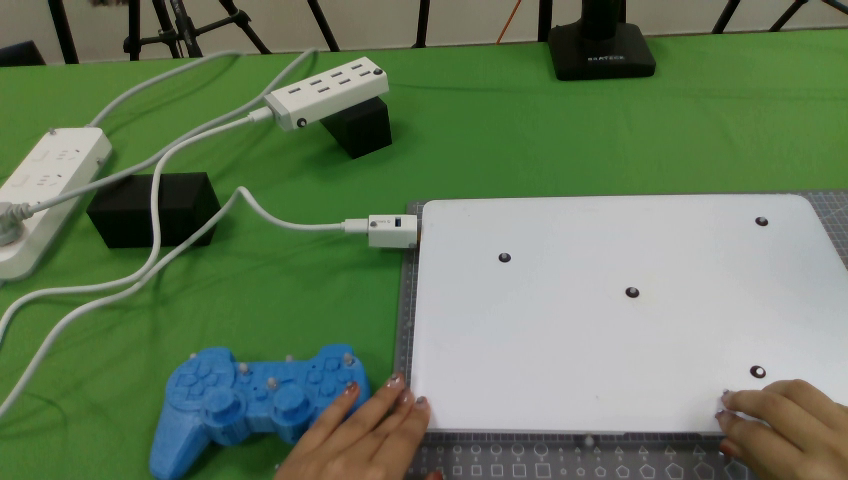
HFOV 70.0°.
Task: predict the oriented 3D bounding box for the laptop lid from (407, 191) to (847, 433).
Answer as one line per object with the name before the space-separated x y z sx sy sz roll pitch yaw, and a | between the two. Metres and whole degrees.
laptop lid | 0.167 0.044 0.488 0.356 0.013 0.239 1 48 5

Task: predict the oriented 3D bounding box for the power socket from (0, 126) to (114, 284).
power socket | -0.398 -0.046 0.628 0.072 0.033 0.224 1 46 5

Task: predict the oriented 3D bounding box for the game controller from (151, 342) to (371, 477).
game controller | -0.114 0.117 0.437 0.155 0.052 0.096 -1 42 3

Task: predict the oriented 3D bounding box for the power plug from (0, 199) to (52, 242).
power plug | -0.375 -0.010 0.557 0.072 0.053 0.035 10 47 11

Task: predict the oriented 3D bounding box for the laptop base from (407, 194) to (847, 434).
laptop base | 0.168 0.051 0.498 0.354 0.023 0.233 -1 49 4

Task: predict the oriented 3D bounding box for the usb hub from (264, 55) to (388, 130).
usb hub | -0.104 -0.159 0.650 0.125 0.025 0.049 -28 51 -20

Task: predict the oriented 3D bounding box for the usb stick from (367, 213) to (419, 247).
usb stick | -0.022 -0.009 0.551 0.059 0.027 0.021 3 45 -5
